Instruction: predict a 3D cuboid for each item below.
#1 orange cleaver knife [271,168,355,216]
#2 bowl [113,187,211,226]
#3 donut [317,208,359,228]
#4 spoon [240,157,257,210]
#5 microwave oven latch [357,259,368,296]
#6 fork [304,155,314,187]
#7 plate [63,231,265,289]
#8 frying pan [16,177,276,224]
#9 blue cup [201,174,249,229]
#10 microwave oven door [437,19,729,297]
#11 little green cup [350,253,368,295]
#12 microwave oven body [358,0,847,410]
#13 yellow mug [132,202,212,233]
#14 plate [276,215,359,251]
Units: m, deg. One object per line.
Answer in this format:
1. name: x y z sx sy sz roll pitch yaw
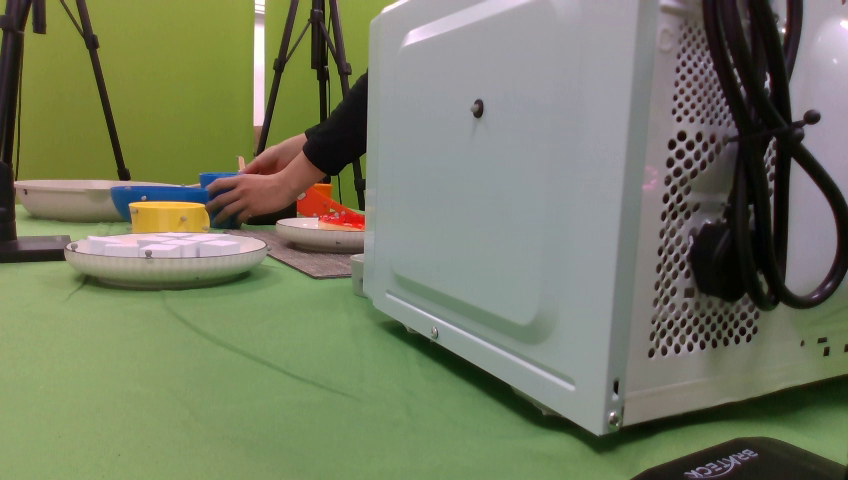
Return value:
1. orange cleaver knife: -0.236 -0.084 1.332 0.212 0.077 0.012 31 -9 -31
2. bowl: -0.436 -0.046 1.013 0.151 0.077 0.151 2 7 0
3. donut: -0.118 -0.024 0.954 0.099 0.048 0.099 6 6 0
4. spoon: -0.433 -0.140 1.471 0.042 0.021 0.193 -8 54 -13
5. microwave oven latch: -0.019 0.031 0.528 0.079 0.029 0.030 -1 7 -24
6. fork: -0.268 -0.134 1.446 0.028 0.018 0.207 2 -36 -1
7. plate: -0.288 0.021 0.687 0.208 0.039 0.207 2 8 0
8. frying pan: -0.554 -0.097 1.266 0.490 0.102 0.305 -10 13 -24
9. blue cup: -0.378 -0.074 1.152 0.093 0.100 0.092 1 9 0
10. microwave oven door: 0.180 -0.076 0.618 0.358 0.243 0.039 -2 8 -28
11. little green cup: -0.048 0.035 0.632 0.061 0.038 0.061 3 6 0
12. microwave oven body: 0.210 -0.051 0.471 0.444 0.260 0.324 -1 7 -28
13. yellow mug: -0.356 -0.020 0.878 0.099 0.064 0.131 5 7 22
14. plate: -0.126 -0.012 0.950 0.209 0.038 0.209 2 7 0
